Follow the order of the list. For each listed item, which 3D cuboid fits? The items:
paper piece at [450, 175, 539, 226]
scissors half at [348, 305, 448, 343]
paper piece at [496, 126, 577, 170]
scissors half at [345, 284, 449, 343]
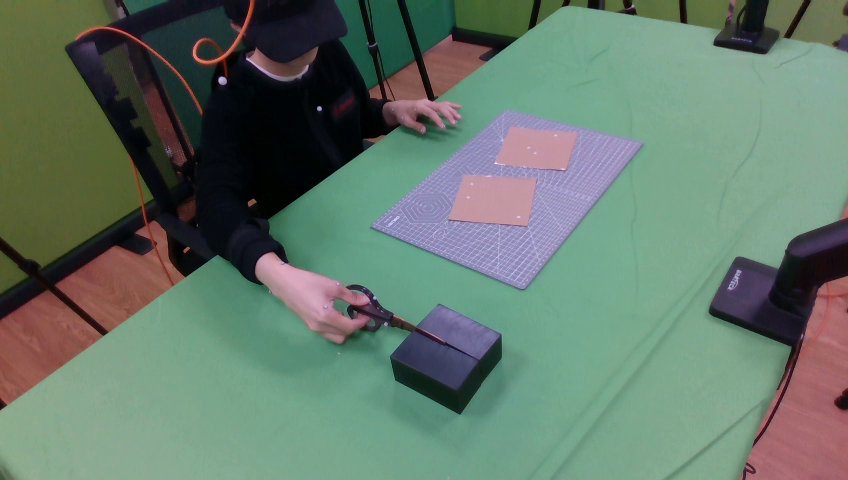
[{"bbox_3d":[0.125,-0.072,1.051,0.135,0.009,0.138,3,42,18],"label":"paper piece"},{"bbox_3d":[-0.037,0.116,0.812,0.174,0.040,0.013,8,34,39],"label":"scissors half"},{"bbox_3d":[0.218,-0.178,1.159,0.135,0.004,0.135,9,43,18],"label":"paper piece"},{"bbox_3d":[-0.038,0.099,0.802,0.174,0.040,0.013,25,38,28],"label":"scissors half"}]
